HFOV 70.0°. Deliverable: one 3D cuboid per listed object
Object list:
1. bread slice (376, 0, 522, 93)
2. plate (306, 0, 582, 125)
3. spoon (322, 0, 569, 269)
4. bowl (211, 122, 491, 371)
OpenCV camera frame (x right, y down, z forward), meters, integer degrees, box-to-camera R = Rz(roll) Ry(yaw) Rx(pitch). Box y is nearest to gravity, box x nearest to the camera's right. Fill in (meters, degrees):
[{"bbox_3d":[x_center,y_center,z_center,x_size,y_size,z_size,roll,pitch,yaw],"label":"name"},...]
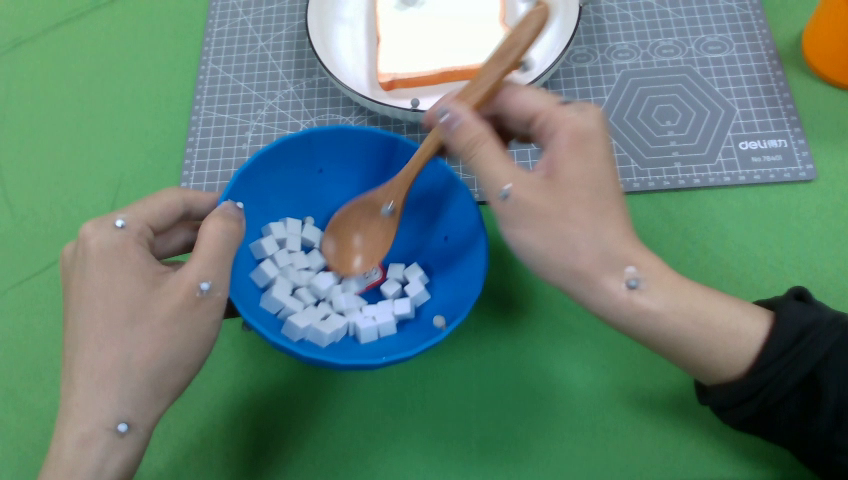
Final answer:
[{"bbox_3d":[0.011,-0.176,0.477,0.107,0.018,0.133,-10,67,2],"label":"bread slice"},{"bbox_3d":[0.014,-0.172,0.472,0.209,0.038,0.207,-2,66,5],"label":"plate"},{"bbox_3d":[0.005,-0.049,0.319,0.041,0.022,0.194,52,124,9],"label":"spoon"},{"bbox_3d":[-0.043,0.013,0.360,0.152,0.077,0.150,6,61,-10],"label":"bowl"}]
